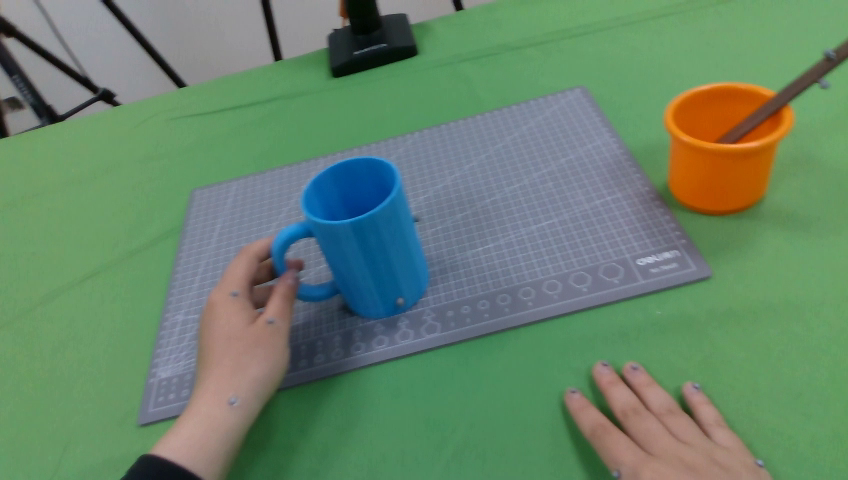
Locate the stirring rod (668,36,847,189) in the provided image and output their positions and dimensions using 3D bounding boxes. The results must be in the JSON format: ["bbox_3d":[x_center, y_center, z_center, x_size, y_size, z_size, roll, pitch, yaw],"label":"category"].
[{"bbox_3d":[0.261,-0.098,0.469,0.176,0.006,0.014,-45,33,35],"label":"stirring rod"}]

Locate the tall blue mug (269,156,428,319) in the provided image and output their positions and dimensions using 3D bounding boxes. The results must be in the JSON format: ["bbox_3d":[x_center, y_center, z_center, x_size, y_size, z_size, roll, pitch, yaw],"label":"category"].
[{"bbox_3d":[-0.055,0.009,0.471,0.077,0.109,0.107,27,58,36],"label":"tall blue mug"}]
